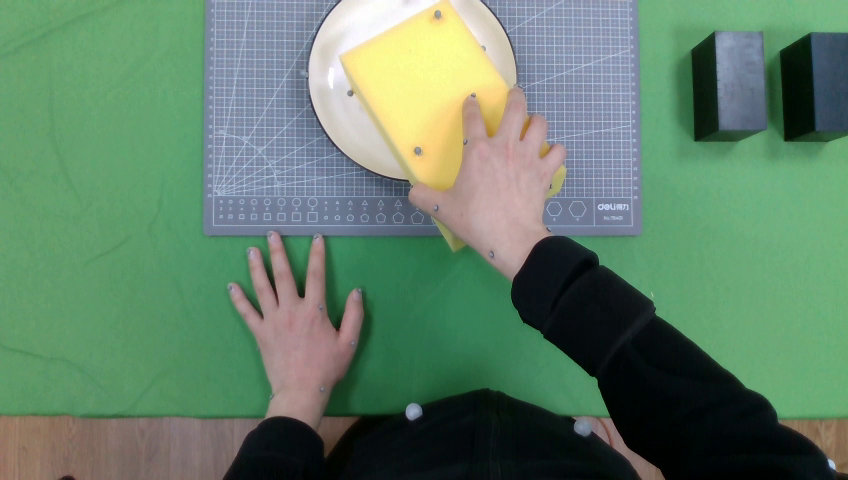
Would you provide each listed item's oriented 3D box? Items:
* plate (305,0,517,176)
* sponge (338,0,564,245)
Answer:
[{"bbox_3d":[-0.012,-0.164,0.610,0.209,0.038,0.209,0,87,-4],"label":"plate"},{"bbox_3d":[0.023,-0.114,0.569,0.118,0.061,0.205,-31,76,-4],"label":"sponge"}]
